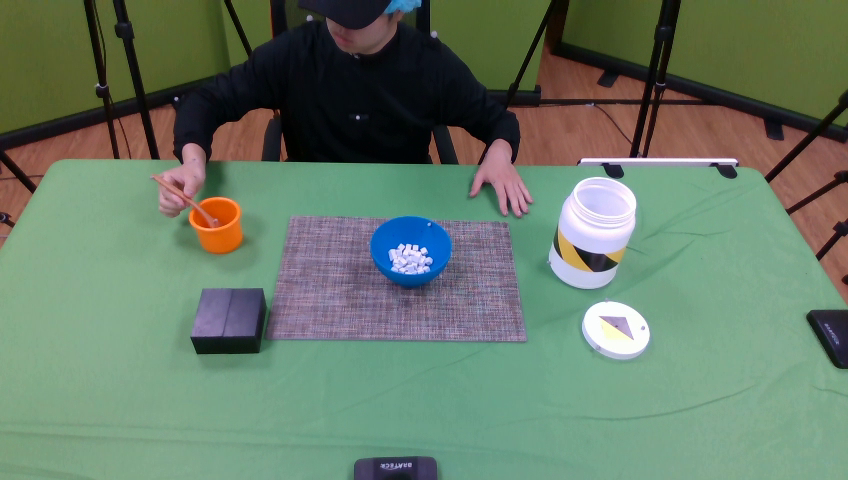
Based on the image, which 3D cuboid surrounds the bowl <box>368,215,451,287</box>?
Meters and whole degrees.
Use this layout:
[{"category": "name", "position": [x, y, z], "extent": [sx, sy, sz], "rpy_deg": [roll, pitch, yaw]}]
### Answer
[{"category": "bowl", "position": [-0.028, 0.033, 1.119], "extent": [0.151, 0.077, 0.150], "rpy_deg": [2, 46, -2]}]

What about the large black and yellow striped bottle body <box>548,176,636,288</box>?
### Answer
[{"category": "large black and yellow striped bottle body", "position": [0.310, -0.014, 1.123], "extent": [0.131, 0.185, 0.130], "rpy_deg": [2, 46, -2]}]

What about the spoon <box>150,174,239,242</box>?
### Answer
[{"category": "spoon", "position": [-0.427, -0.060, 1.132], "extent": [0.021, 0.195, 0.041], "rpy_deg": [-32, 28, 23]}]

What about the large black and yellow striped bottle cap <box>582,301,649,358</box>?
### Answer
[{"category": "large black and yellow striped bottle cap", "position": [0.340, 0.157, 1.077], "extent": [0.115, 0.019, 0.114], "rpy_deg": [1, 47, -1]}]
